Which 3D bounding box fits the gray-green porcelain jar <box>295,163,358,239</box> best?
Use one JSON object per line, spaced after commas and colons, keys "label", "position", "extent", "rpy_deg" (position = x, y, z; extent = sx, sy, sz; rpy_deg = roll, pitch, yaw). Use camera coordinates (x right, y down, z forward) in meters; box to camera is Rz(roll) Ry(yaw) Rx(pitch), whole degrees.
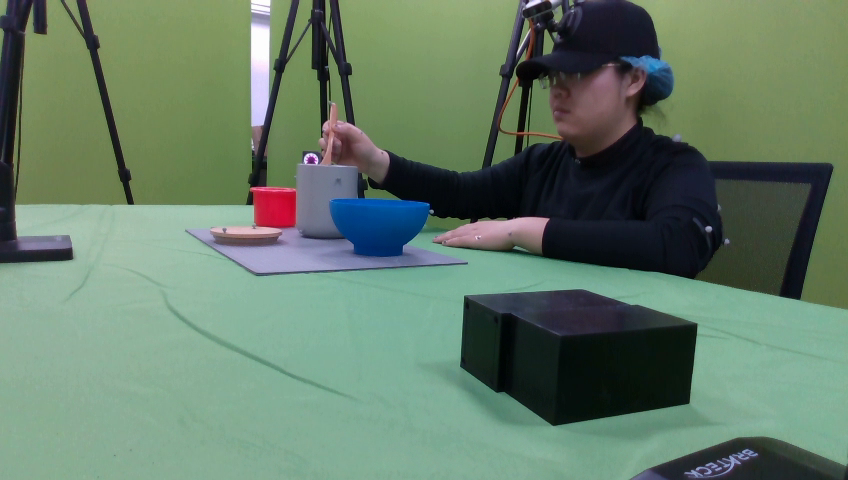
{"label": "gray-green porcelain jar", "position": [-0.170, -0.069, 1.054], "extent": [0.106, 0.126, 0.106], "rpy_deg": [3, 7, 0]}

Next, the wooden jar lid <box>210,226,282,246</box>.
{"label": "wooden jar lid", "position": [-0.279, -0.007, 0.951], "extent": [0.108, 0.020, 0.108], "rpy_deg": [2, 8, 0]}

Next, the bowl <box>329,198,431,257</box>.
{"label": "bowl", "position": [-0.066, -0.019, 0.895], "extent": [0.151, 0.077, 0.151], "rpy_deg": [3, 7, 0]}

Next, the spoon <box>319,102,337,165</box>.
{"label": "spoon", "position": [-0.171, -0.170, 1.091], "extent": [0.042, 0.193, 0.021], "rpy_deg": [15, -25, -22]}
